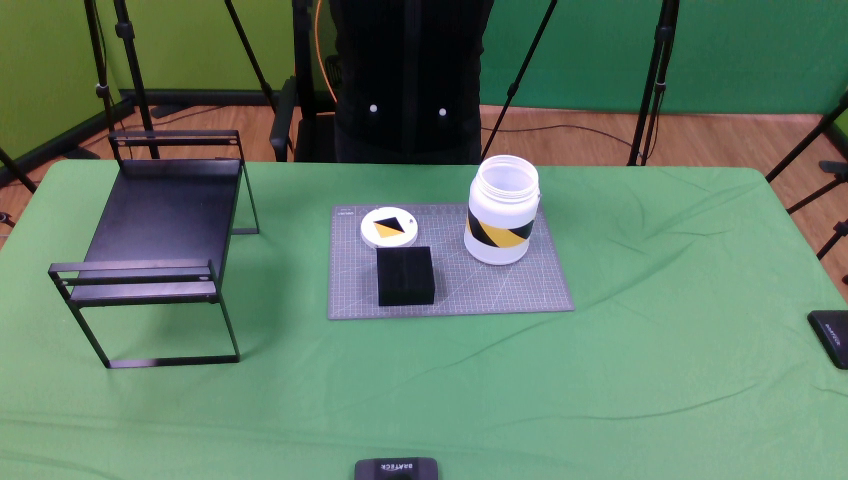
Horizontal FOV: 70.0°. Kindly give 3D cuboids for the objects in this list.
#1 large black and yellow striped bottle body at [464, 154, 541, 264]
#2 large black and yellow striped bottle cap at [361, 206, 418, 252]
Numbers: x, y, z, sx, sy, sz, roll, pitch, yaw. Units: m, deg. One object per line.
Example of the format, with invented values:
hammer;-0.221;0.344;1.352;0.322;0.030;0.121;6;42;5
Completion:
large black and yellow striped bottle body;0.148;-0.058;1.145;0.131;0.185;0.130;2;46;-2
large black and yellow striped bottle cap;-0.068;-0.024;1.214;0.115;0.019;0.114;1;47;-1
